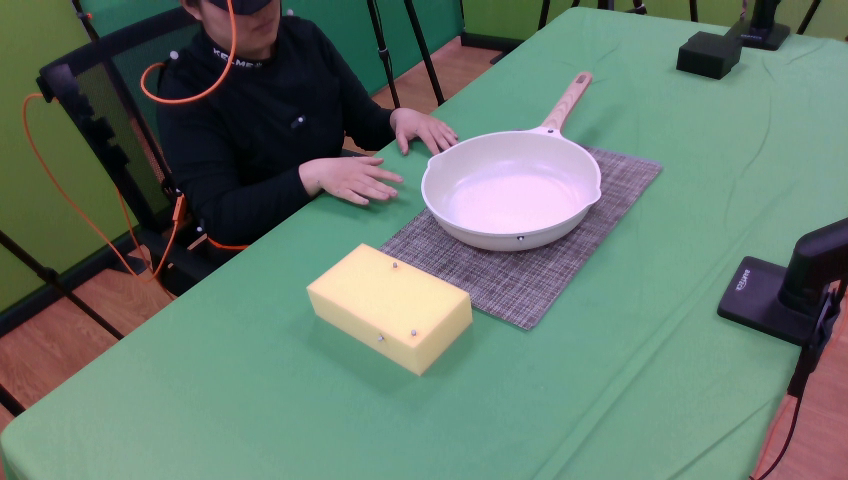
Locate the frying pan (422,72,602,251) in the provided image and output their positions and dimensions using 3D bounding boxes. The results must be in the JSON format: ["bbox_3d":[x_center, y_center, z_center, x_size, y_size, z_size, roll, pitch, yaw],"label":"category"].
[{"bbox_3d":[0.199,-0.155,1.062,0.304,0.103,0.488,19,56,28],"label":"frying pan"}]

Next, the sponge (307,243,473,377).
[{"bbox_3d":[-0.050,0.092,0.858,0.205,0.061,0.118,23,50,32],"label":"sponge"}]
